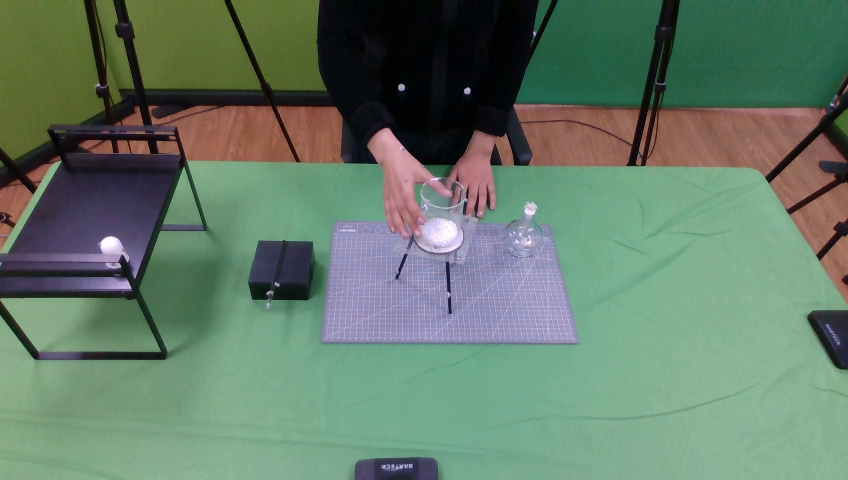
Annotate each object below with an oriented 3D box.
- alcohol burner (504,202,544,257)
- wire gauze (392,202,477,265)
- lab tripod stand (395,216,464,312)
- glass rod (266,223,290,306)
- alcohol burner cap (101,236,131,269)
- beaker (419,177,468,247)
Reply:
[{"bbox_3d":[0.195,-0.025,1.170,0.078,0.120,0.077,2,44,-2],"label":"alcohol burner"},{"bbox_3d":[0.021,-0.011,1.037,0.121,0.011,0.124,13,49,8],"label":"wire gauze"},{"bbox_3d":[0.023,0.037,1.084,0.148,0.132,0.147,4,46,-4],"label":"lab tripod stand"},{"bbox_3d":[-0.260,0.039,1.083,0.008,0.008,0.198,3,46,-1],"label":"glass rod"},{"bbox_3d":[-0.452,0.016,0.883,0.034,0.048,0.033,2,47,-2],"label":"alcohol burner cap"},{"bbox_3d":[0.026,-0.045,1.004,0.074,0.101,0.083,-20,51,-22],"label":"beaker"}]
